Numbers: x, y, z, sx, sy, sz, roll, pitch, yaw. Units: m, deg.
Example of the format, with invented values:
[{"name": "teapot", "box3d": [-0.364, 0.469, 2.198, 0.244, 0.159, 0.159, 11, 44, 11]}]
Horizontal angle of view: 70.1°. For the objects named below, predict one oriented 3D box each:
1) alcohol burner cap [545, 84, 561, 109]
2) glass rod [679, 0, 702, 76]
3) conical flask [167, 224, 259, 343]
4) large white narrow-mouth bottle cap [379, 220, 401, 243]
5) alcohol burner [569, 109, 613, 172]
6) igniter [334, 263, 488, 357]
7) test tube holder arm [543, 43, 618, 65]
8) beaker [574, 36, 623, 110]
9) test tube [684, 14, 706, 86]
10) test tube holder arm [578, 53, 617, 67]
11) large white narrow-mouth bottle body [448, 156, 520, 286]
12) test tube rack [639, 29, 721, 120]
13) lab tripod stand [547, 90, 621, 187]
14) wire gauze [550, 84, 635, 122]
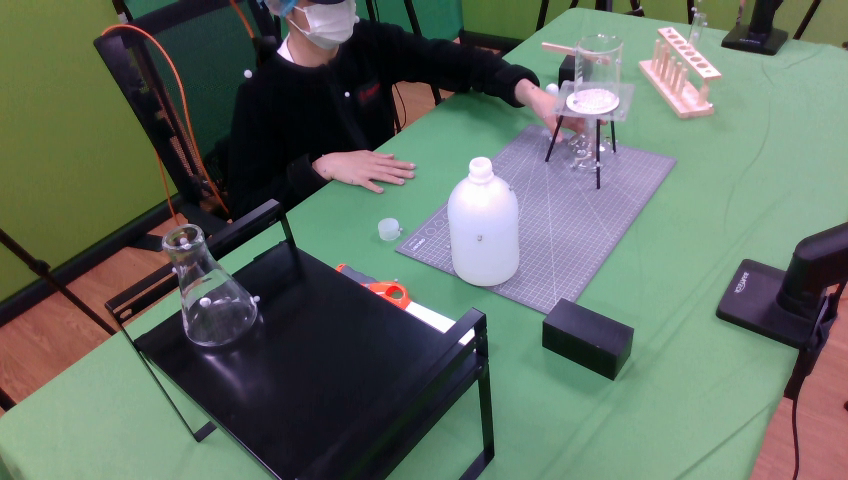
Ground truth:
[{"name": "alcohol burner cap", "box3d": [0.274, -0.307, 1.285, 0.034, 0.048, 0.033, -6, 42, 6]}, {"name": "glass rod", "box3d": [0.543, -0.417, 1.233, 0.008, 0.200, 0.008, 1, 39, 0]}, {"name": "conical flask", "box3d": [-0.220, 0.041, 0.613, 0.075, 0.122, 0.075, -5, 40, 4]}, {"name": "large white narrow-mouth bottle cap", "box3d": [-0.057, -0.015, 1.011, 0.038, 0.024, 0.037, -4, 40, 4]}, {"name": "alcohol burner", "box3d": [0.297, -0.181, 1.073, 0.078, 0.119, 0.077, -5, 43, 5]}, {"name": "igniter", "box3d": [-0.030, 0.095, 0.872, 0.274, 0.025, 0.057, 23, 60, 31]}, {"name": "test tube holder arm", "box3d": [0.345, -0.413, 1.341, 0.177, 0.015, 0.013, 25, 50, 31]}, {"name": "beaker", "box3d": [0.285, -0.273, 0.990, 0.073, 0.101, 0.084, 15, 46, 27]}, {"name": "test tube", "box3d": [0.540, -0.378, 1.215, 0.017, 0.151, 0.017, -2, 44, 3]}, {"name": "test tube holder arm", "box3d": [0.376, -0.393, 1.314, 0.087, 0.015, 0.010, 26, 51, 32]}, {"name": "large white narrow-mouth bottle body", "box3d": [0.086, -0.032, 0.869, 0.102, 0.195, 0.101, -4, 40, 4]}, {"name": "test tube rack", "box3d": [0.527, -0.351, 1.262, 0.067, 0.085, 0.241, -8, 40, 1]}, {"name": "lab tripod stand", "box3d": [0.289, -0.184, 1.062, 0.148, 0.132, 0.147, -6, 41, 6]}, {"name": "wire gauze", "box3d": [0.285, -0.234, 1.021, 0.124, 0.011, 0.121, 8, 41, 24]}]
